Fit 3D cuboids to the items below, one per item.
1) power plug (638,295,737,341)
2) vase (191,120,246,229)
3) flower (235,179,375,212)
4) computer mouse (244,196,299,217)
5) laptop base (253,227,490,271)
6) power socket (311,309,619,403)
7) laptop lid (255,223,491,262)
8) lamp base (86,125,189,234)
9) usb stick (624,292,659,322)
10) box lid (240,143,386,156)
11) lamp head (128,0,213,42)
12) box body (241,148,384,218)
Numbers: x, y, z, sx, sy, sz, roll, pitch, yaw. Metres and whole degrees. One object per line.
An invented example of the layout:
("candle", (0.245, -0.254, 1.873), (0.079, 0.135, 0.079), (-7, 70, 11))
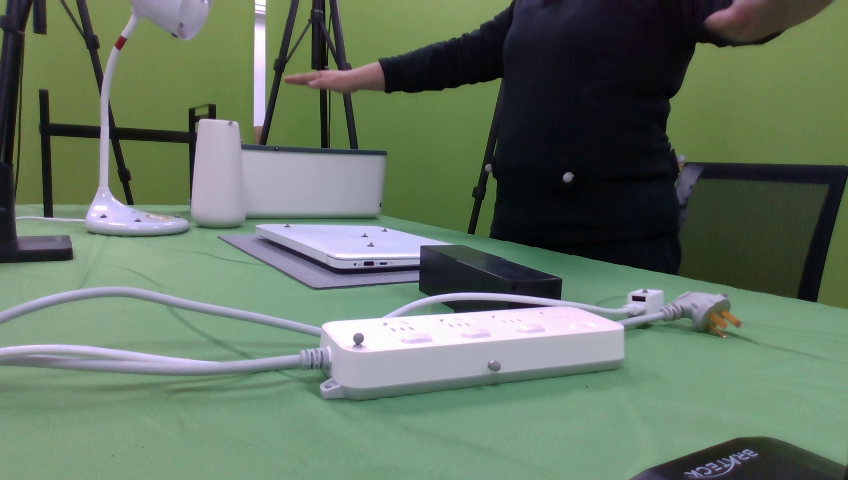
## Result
("power plug", (0.235, 0.077, 0.535), (0.072, 0.035, 0.052), (-34, 40, -5))
("vase", (-0.389, -0.123, 1.143), (0.098, 0.200, 0.098), (2, 9, 0))
("flower", (-0.265, -0.093, 1.417), (0.364, 0.044, 0.038), (8, 47, -39))
("computer mouse", (-0.346, -0.077, 1.373), (0.118, 0.041, 0.062), (-11, 19, -33))
("laptop base", (-0.096, 0.011, 0.911), (0.237, 0.023, 0.352), (2, 6, -32))
("power socket", (0.034, 0.074, 0.416), (0.228, 0.032, 0.072), (-1, 7, -24))
("laptop lid", (-0.093, 0.000, 0.911), (0.243, 0.013, 0.355), (1, 7, -30))
("lamp base", (-0.497, -0.105, 1.027), (0.179, 0.180, 0.160), (1, 7, 2))
("usb stick", (0.211, 0.064, 0.580), (0.021, 0.027, 0.059), (-2, -4, 36))
("box lid", (-0.304, -0.217, 1.463), (0.373, 0.015, 0.262), (-2, 8, -30))
("lamp head", (-0.423, -0.394, 0.980), (0.123, 0.112, 0.112), (20, 7, -3))
("box body", (-0.306, -0.144, 1.474), (0.366, 0.160, 0.253), (-1, 9, -30))
